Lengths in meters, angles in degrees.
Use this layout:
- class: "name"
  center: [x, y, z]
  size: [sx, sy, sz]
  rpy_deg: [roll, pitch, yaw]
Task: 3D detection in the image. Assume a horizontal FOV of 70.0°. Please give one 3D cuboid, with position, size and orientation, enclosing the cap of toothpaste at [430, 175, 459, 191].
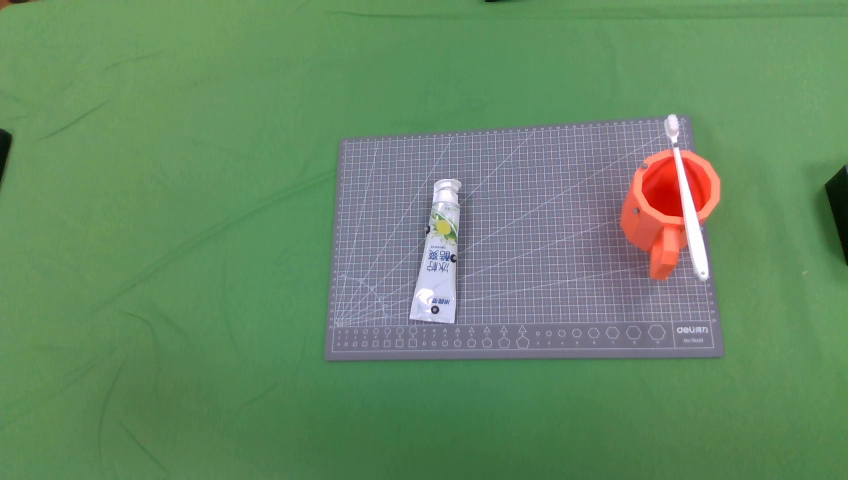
- class: "cap of toothpaste"
  center: [0.025, -0.068, 0.749]
  size: [0.037, 0.037, 0.011]
  rpy_deg: [-8, 68, 7]

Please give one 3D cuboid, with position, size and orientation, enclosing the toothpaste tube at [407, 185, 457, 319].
- class: "toothpaste tube"
  center: [0.015, 0.011, 0.730]
  size: [0.055, 0.035, 0.164]
  rpy_deg: [2, 76, 16]

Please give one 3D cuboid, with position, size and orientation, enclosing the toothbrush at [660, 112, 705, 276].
- class: "toothbrush"
  center: [0.263, -0.051, 0.617]
  size: [0.014, 0.017, 0.180]
  rpy_deg: [-4, 71, 4]

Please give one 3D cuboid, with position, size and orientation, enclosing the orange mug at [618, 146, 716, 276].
- class: "orange mug"
  center: [0.262, -0.027, 0.665]
  size: [0.083, 0.101, 0.125]
  rpy_deg: [6, 68, 11]
